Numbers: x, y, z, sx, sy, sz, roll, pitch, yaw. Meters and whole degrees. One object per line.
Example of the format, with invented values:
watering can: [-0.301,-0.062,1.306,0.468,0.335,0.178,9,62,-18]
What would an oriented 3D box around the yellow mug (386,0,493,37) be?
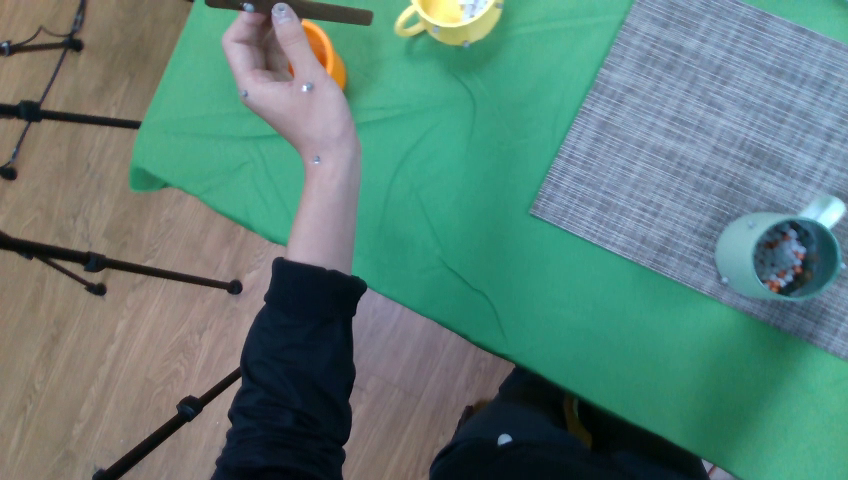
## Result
yellow mug: [0.013,-0.276,0.675,0.131,0.064,0.100,-33,88,10]

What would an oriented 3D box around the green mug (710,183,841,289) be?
green mug: [0.359,-0.008,0.607,0.092,0.105,0.125,42,98,6]

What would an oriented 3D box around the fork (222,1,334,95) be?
fork: [-0.181,-0.233,0.665,0.028,0.018,0.209,-48,128,6]

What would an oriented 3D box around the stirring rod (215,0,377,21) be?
stirring rod: [-0.094,-0.185,0.472,0.006,0.176,0.014,33,119,25]
